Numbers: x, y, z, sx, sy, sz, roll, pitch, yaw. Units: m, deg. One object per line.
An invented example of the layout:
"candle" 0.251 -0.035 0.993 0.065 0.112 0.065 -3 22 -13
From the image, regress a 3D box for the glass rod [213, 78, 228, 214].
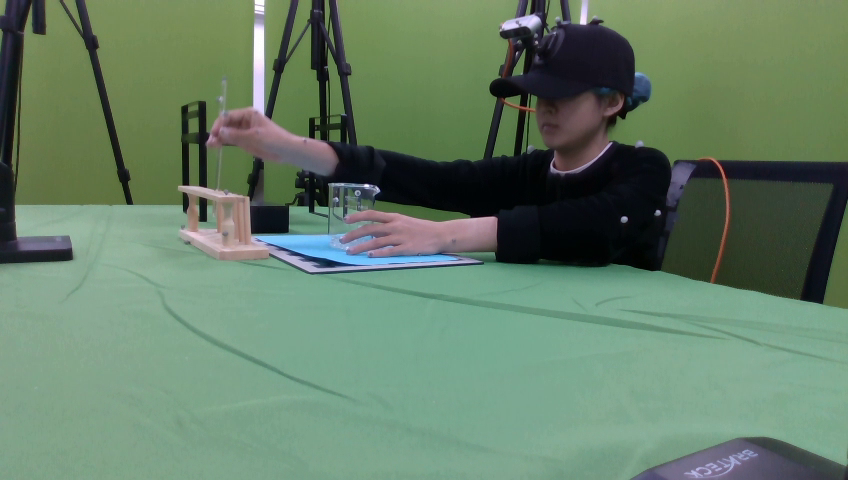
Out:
"glass rod" -0.296 -0.137 0.878 0.008 0.199 0.008 4 -2 0

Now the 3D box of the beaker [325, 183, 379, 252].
"beaker" -0.109 -0.035 0.921 0.084 0.100 0.074 5 8 15

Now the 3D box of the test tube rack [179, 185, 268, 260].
"test tube rack" -0.303 -0.031 0.898 0.067 0.085 0.241 -2 9 -33
